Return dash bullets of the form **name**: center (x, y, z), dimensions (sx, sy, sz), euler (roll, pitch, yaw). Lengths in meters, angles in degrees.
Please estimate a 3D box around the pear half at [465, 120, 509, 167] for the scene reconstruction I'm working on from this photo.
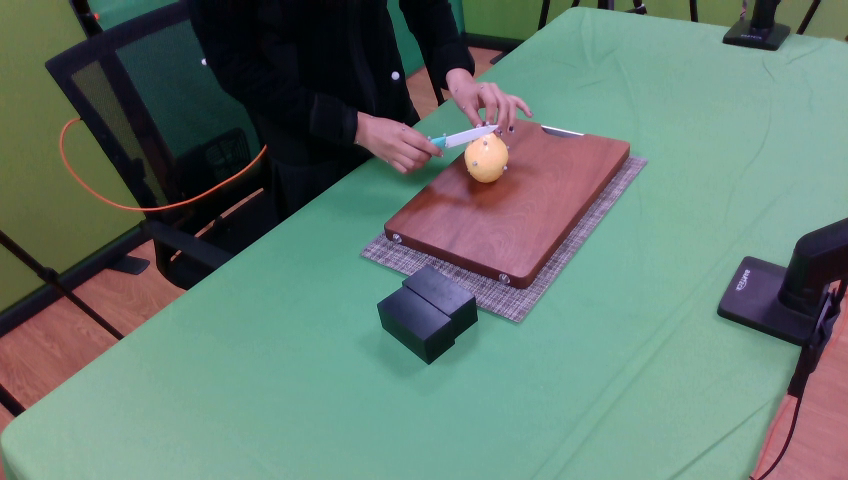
- **pear half**: center (0.110, -0.163, 1.042), dimensions (0.076, 0.110, 0.056), euler (6, 42, 12)

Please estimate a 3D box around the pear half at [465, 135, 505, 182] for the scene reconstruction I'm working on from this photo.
- **pear half**: center (0.102, -0.132, 1.023), dimensions (0.070, 0.088, 0.031), euler (6, 42, 10)

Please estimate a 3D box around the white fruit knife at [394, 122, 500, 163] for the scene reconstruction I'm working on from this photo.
- **white fruit knife**: center (0.035, -0.168, 1.031), dimensions (0.206, 0.027, 0.016), euler (-14, 43, 25)
